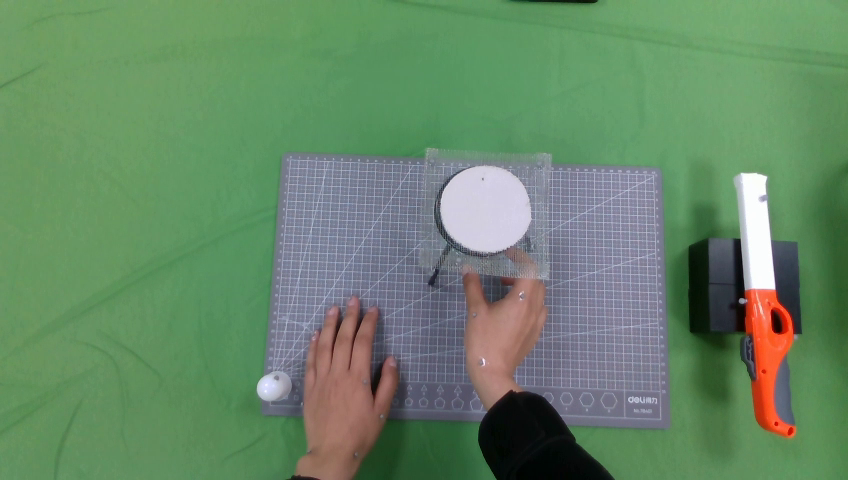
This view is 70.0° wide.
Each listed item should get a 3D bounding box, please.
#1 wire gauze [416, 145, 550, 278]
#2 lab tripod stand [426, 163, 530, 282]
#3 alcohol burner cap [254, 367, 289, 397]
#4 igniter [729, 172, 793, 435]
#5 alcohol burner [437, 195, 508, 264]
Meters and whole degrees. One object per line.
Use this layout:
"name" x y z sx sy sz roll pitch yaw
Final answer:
"wire gauze" 0.057 -0.030 0.570 0.125 0.011 0.121 5 80 0
"lab tripod stand" 0.049 -0.022 0.637 0.148 0.132 0.148 0 79 1
"alcohol burner cap" -0.165 0.152 0.647 0.034 0.048 0.033 1 78 -2
"igniter" 0.354 0.062 0.640 0.057 0.025 0.275 2 77 -5
"alcohol burner" 0.052 -0.015 0.646 0.078 0.119 0.077 0 80 0
